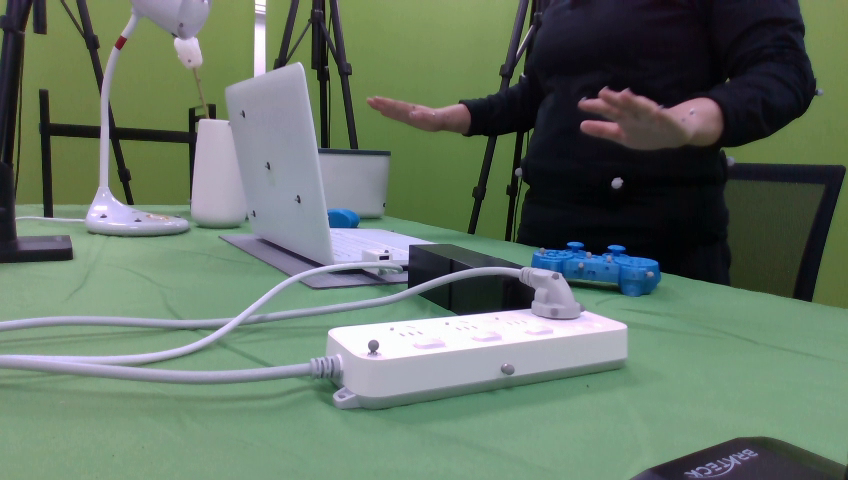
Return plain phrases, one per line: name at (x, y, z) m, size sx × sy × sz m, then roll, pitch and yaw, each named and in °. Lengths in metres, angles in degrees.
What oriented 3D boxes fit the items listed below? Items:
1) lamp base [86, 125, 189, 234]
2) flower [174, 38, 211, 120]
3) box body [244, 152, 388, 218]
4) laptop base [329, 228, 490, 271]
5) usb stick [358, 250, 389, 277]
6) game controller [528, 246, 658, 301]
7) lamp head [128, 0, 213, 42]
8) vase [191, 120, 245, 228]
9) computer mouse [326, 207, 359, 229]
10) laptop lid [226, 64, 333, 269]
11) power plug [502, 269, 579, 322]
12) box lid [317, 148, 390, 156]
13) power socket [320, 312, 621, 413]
lamp base at (-0.497, -0.105, 1.027) m, size 0.179 × 0.180 × 0.160 m, roll 1°, pitch 7°, yaw 2°
flower at (-0.401, -0.207, 1.141) m, size 0.038 × 0.361 × 0.044 m, roll -14°, pitch 3°, yaw 44°
box body at (-0.297, -0.143, 1.474) m, size 0.366 × 0.160 × 0.253 m, roll -1°, pitch 9°, yaw -30°
laptop base at (-0.096, 0.012, 0.912) m, size 0.237 × 0.023 × 0.352 m, roll 2°, pitch 7°, yaw -32°
usb stick at (-0.062, 0.026, 0.708) m, size 0.021 × 0.027 × 0.059 m, roll -3°, pitch 5°, yaw -28°
game controller at (0.202, 0.036, 0.733) m, size 0.155 × 0.051 × 0.097 m, roll 5°, pitch 10°, yaw 19°
lamp head at (-0.423, -0.394, 0.980) m, size 0.123 × 0.112 × 0.112 m, roll 20°, pitch 7°, yaw -3°
vase at (-0.389, -0.124, 1.142) m, size 0.098 × 0.200 × 0.098 m, roll 3°, pitch 9°, yaw 0°
computer mouse at (-0.194, -0.046, 1.241) m, size 0.117 × 0.041 × 0.063 m, roll 0°, pitch 10°, yaw 12°
laptop lid at (-0.209, -0.101, 0.824) m, size 0.013 × 0.241 × 0.355 m, roll -14°, pitch 16°, yaw -29°
power plug at (0.091, 0.051, 0.469) m, size 0.035 × 0.052 × 0.072 m, roll 0°, pitch 5°, yaw -18°
box lid at (-0.295, -0.217, 1.463) m, size 0.373 × 0.015 × 0.262 m, roll -1°, pitch 8°, yaw -29°
power socket at (0.038, 0.075, 0.409) m, size 0.228 × 0.032 × 0.072 m, roll -2°, pitch 8°, yaw -29°
